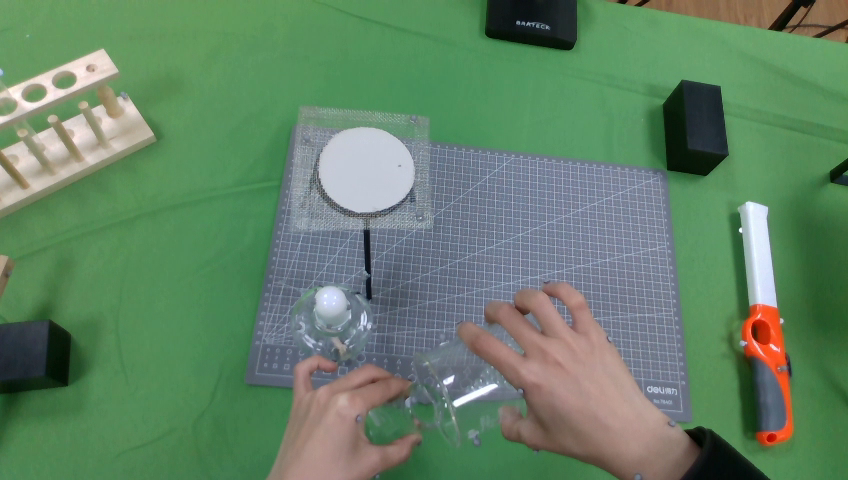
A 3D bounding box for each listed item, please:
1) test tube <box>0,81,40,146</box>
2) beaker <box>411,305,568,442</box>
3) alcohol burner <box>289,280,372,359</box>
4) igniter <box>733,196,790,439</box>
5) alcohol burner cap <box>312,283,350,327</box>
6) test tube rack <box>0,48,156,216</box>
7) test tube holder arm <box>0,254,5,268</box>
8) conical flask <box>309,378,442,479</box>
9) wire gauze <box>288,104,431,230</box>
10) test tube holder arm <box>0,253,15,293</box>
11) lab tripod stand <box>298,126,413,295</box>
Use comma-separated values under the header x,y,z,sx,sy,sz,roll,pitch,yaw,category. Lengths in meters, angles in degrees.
x,y,z,sx,sy,sz,roll,pitch,yaw,category
-0.398,-0.135,0.569,0.017,0.151,0.017,4,62,-7,test tube
0.051,0.099,0.463,0.100,0.084,0.073,-21,72,-15,beaker
-0.086,0.068,0.560,0.078,0.120,0.077,4,65,-8,alcohol burner
0.369,0.078,0.667,0.057,0.025,0.274,13,66,-13,igniter
-0.082,0.055,0.526,0.034,0.048,0.033,1,70,-3,alcohol burner cap
-0.408,-0.091,0.603,0.242,0.085,0.066,-33,75,-19,test tube rack
-0.392,0.093,0.510,0.013,0.015,0.177,9,65,-4,test tube holder arm
-0.037,0.155,0.515,0.076,0.122,0.074,27,45,-30,conical flask
-0.056,-0.065,0.537,0.122,0.011,0.124,2,68,-7,wire gauze
-0.382,0.054,0.529,0.010,0.015,0.087,9,65,-3,test tube holder arm
-0.061,-0.035,0.596,0.149,0.132,0.147,3,67,-8,lab tripod stand
